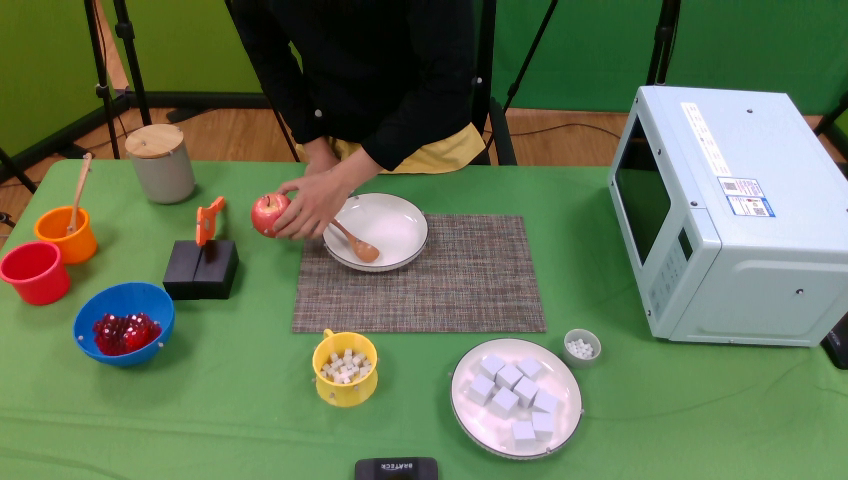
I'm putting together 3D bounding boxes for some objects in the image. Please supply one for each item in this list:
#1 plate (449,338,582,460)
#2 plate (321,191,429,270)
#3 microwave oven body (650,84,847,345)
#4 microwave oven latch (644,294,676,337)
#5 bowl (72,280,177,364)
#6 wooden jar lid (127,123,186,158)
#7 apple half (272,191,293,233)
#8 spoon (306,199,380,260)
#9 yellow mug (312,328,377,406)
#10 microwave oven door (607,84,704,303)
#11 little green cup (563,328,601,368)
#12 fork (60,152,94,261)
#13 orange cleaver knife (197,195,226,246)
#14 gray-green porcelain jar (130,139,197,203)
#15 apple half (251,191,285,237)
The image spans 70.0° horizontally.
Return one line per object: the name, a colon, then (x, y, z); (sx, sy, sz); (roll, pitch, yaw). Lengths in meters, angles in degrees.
plate: (0.141, 0.251, 0.956); (0.208, 0.039, 0.206); (2, 46, -2)
plate: (-0.094, -0.015, 1.185); (0.209, 0.038, 0.208); (2, 46, -2)
microwave oven body: (0.569, -0.054, 1.116); (0.326, 0.261, 0.439); (2, 46, -1)
microwave oven latch: (0.411, 0.132, 1.061); (0.030, 0.029, 0.078); (1, 46, -2)
bowl: (-0.472, 0.147, 0.982); (0.151, 0.077, 0.150); (2, 46, -2)
wooden jar lid: (-0.519, -0.190, 1.179); (0.108, 0.021, 0.107); (2, 44, -2)
apple half: (-0.260, -0.050, 1.115); (0.033, 0.081, 0.081); (-8, 46, -30)
spoon: (-0.160, -0.024, 1.170); (0.193, 0.022, 0.041); (41, 61, 16)
yellow mug: (-0.132, 0.193, 0.971); (0.100, 0.064, 0.130); (-22, 51, -23)
microwave oven door: (0.424, -0.096, 1.137); (0.039, 0.245, 0.353); (3, 46, -1)
little green cup: (0.265, 0.185, 1.025); (0.061, 0.039, 0.061); (1, 45, -1)
fork: (-0.637, -0.062, 1.119); (0.028, 0.019, 0.207); (11, 90, 16)
orange cleaver knife: (-0.404, -0.041, 1.157); (0.012, 0.077, 0.210); (2, 14, -7)
gray-green porcelain jar: (-0.522, -0.148, 1.224); (0.106, 0.127, 0.105); (2, 46, -2)
apple half: (-0.290, -0.043, 1.113); (0.053, 0.075, 0.080); (-16, 60, -15)
